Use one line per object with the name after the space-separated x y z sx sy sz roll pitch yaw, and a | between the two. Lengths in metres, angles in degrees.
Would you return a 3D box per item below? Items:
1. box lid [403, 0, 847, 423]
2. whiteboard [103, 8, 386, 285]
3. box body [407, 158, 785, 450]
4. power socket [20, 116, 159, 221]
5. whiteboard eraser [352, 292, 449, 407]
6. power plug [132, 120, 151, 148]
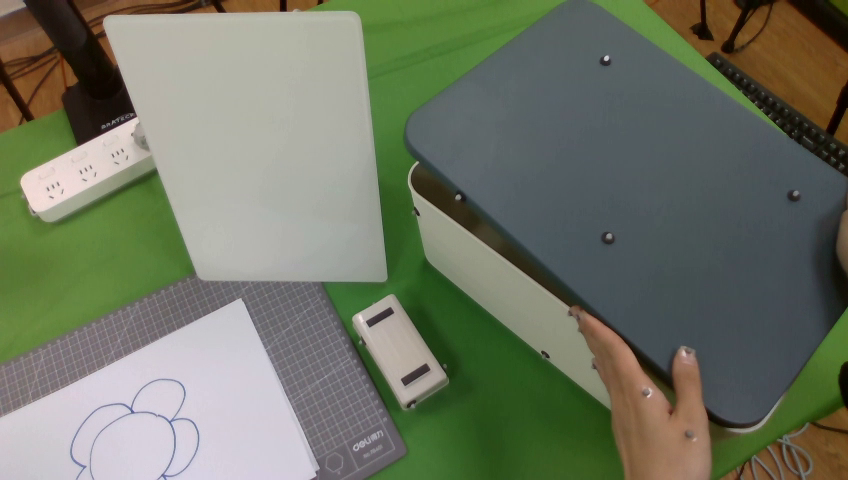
0.188 -0.057 0.521 0.263 0.015 0.369 -40 73 -21 | box lid
-0.150 -0.112 0.642 0.217 0.308 0.142 1 40 4 | whiteboard
0.194 0.000 0.612 0.361 0.162 0.254 38 69 20 | box body
-0.393 -0.101 0.766 0.227 0.033 0.071 -32 66 -15 | power socket
-0.026 0.112 0.630 0.055 0.042 0.111 -29 64 -14 | whiteboard eraser
-0.335 -0.117 0.746 0.035 0.053 0.072 -22 69 -10 | power plug
